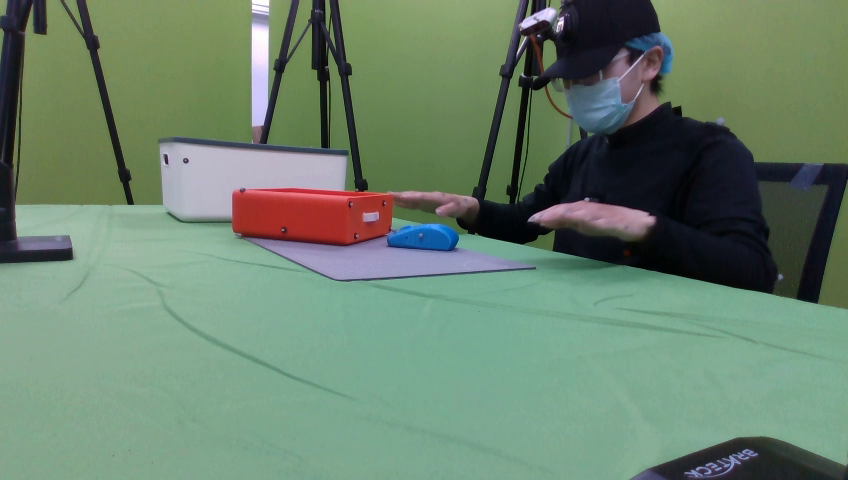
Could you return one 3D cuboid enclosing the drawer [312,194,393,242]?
[{"bbox_3d":[-0.184,-0.048,1.060,0.211,0.073,0.195,4,8,18],"label":"drawer"}]

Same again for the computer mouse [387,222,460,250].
[{"bbox_3d":[0.000,-0.008,0.978,0.117,0.041,0.063,0,8,14],"label":"computer mouse"}]

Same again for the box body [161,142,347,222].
[{"bbox_3d":[-0.380,-0.132,1.352,0.366,0.160,0.253,-2,8,-30],"label":"box body"}]

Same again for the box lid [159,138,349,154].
[{"bbox_3d":[-0.376,-0.206,1.344,0.373,0.015,0.262,-1,8,-30],"label":"box lid"}]

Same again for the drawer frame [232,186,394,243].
[{"bbox_3d":[-0.186,-0.049,1.060,0.213,0.082,0.202,4,8,17],"label":"drawer frame"}]
